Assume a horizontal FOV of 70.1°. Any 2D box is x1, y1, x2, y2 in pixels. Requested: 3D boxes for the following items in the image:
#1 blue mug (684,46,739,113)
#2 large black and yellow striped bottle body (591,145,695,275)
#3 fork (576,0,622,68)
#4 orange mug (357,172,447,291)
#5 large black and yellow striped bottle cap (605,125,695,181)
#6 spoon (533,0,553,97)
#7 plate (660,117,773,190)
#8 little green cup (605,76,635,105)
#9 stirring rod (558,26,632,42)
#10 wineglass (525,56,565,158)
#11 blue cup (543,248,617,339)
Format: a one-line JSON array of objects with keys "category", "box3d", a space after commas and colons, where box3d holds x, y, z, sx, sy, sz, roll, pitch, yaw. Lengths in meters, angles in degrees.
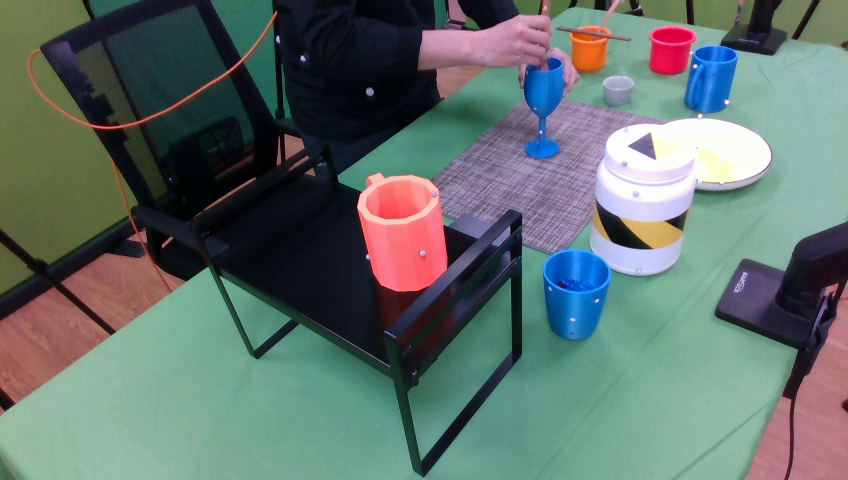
[{"category": "blue mug", "box3d": [0.556, -0.310, 1.190, 0.117, 0.106, 0.081, -32, 46, -25]}, {"category": "large black and yellow striped bottle body", "box3d": [0.313, -0.056, 0.871, 0.131, 0.185, 0.130, -4, 40, 4]}, {"category": "fork", "box3d": [0.409, -0.484, 1.381, 0.028, 0.019, 0.207, 37, 101, 46]}, {"category": "orange mug", "box3d": [-0.030, -0.018, 0.669, 0.084, 0.101, 0.125, -23, 47, -16]}, {"category": "large black and yellow striped bottle cap", "box3d": [0.304, -0.120, 0.817, 0.115, 0.019, 0.114, -3, 41, 3]}, {"category": "spoon", "box3d": [0.205, -0.330, 1.035, 0.042, 0.194, 0.021, -24, 43, -18]}, {"category": "plate", "box3d": [0.495, -0.149, 1.063, 0.209, 0.038, 0.208, -5, 40, 5]}, {"category": "little green cup", "box3d": [0.408, -0.311, 1.266, 0.061, 0.039, 0.061, -4, 40, 4]}, {"category": "stirring rod", "box3d": [0.381, -0.462, 1.356, 0.175, 0.006, 0.014, 22, 49, 30]}, {"category": "wineglass", "box3d": [0.219, -0.240, 1.102, 0.074, 0.173, 0.073, -4, 40, 4]}, {"category": "blue cup", "box3d": [0.199, 0.076, 0.797, 0.092, 0.100, 0.092, -4, 39, 4]}]
